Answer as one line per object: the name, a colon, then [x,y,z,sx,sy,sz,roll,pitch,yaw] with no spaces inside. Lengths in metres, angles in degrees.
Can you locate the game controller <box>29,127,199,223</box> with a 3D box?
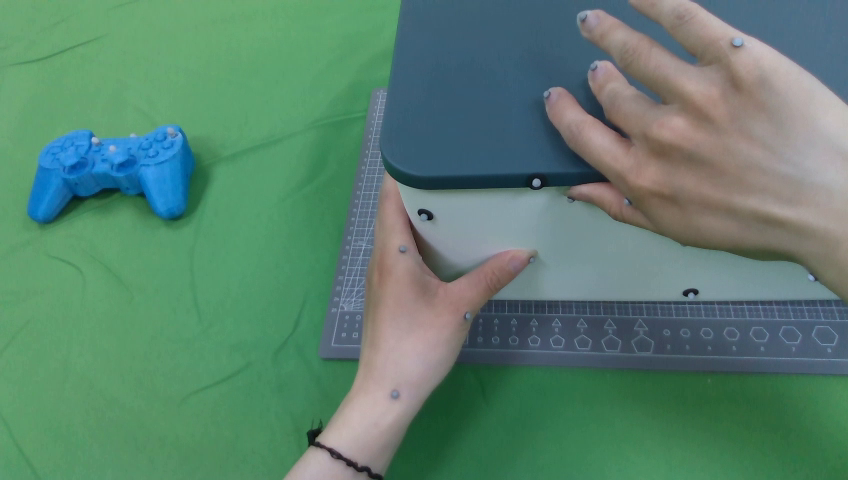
game controller: [-0.289,-0.066,0.567,0.155,0.052,0.096,0,51,7]

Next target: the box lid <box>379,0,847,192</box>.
box lid: [0.161,-0.136,0.386,0.371,0.015,0.261,-1,54,7]

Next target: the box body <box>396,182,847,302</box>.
box body: [0.173,-0.092,0.445,0.363,0.162,0.252,-1,54,8]
